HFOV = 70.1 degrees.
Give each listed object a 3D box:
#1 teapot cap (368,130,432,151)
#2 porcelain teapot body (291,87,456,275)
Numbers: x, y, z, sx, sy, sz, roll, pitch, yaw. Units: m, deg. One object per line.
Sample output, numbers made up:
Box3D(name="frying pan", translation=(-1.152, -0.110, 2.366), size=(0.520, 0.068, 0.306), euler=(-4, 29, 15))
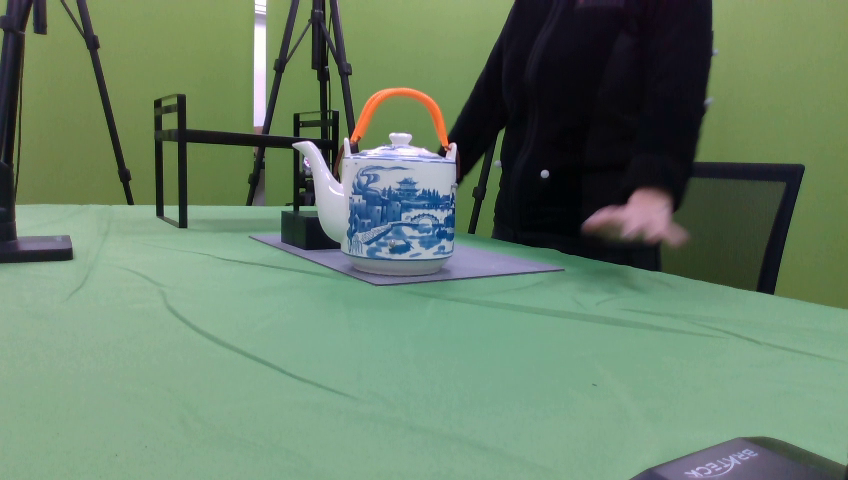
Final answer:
Box3D(name="teapot cap", translation=(-0.031, -0.115, 0.754), size=(0.085, 0.044, 0.085), euler=(1, 11, 0))
Box3D(name="porcelain teapot body", translation=(-0.061, -0.076, 0.754), size=(0.206, 0.225, 0.145), euler=(0, 8, -12))
